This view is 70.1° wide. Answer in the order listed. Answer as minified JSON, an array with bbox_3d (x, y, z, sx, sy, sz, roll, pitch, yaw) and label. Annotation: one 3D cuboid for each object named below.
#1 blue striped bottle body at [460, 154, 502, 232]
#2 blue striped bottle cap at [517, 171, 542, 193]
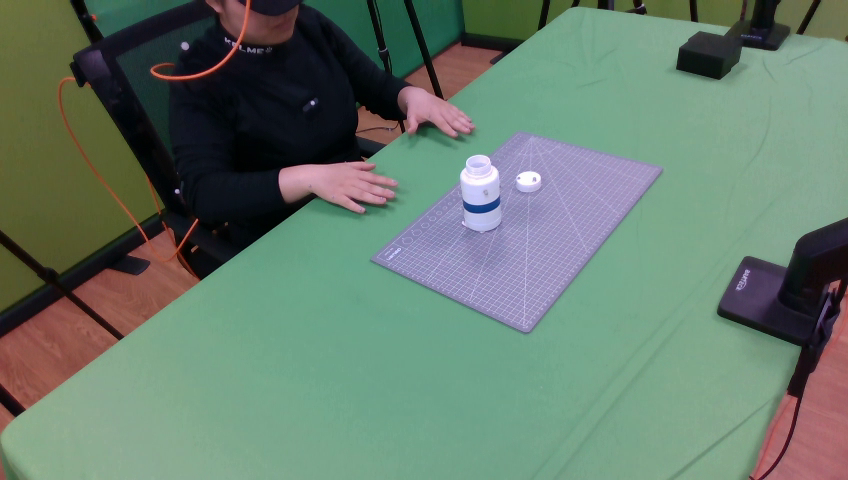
[{"bbox_3d":[0.092,-0.078,0.976,0.063,0.121,0.063,-6,40,5],"label":"blue striped bottle body"},{"bbox_3d":[0.187,-0.103,1.072,0.044,0.021,0.044,-5,42,5],"label":"blue striped bottle cap"}]
